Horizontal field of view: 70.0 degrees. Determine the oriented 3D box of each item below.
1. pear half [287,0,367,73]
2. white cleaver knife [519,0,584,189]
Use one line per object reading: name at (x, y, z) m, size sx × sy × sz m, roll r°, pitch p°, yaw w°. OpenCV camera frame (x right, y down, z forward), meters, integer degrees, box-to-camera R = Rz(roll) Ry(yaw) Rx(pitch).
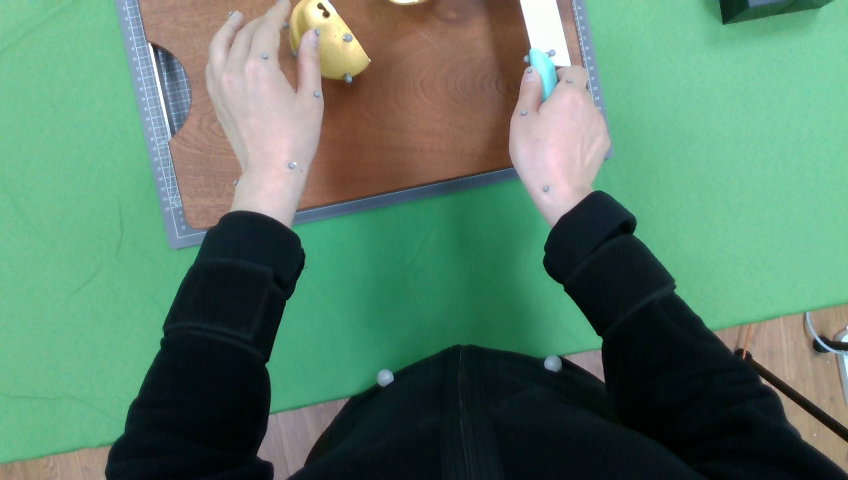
pear half at (-0.090, -0.179, 0.517) m, size 0.056 × 0.110 × 0.076 m, roll -42°, pitch 88°, yaw 1°
white cleaver knife at (0.109, -0.186, 0.539) m, size 0.066 × 0.021 × 0.286 m, roll -13°, pitch 91°, yaw -40°
